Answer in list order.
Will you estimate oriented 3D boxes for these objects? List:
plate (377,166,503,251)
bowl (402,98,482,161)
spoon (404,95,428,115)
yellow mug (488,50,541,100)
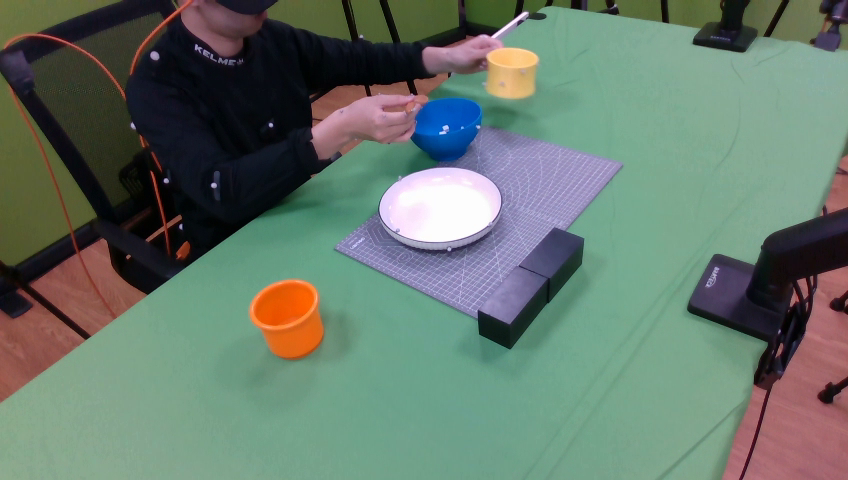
[{"bbox_3d":[0.027,-0.050,1.007,0.209,0.038,0.208,-4,41,4],"label":"plate"},{"bbox_3d":[0.040,-0.203,1.154,0.151,0.077,0.150,-7,38,6],"label":"bowl"},{"bbox_3d":[-0.020,-0.233,1.040,0.041,0.022,0.193,-9,15,8],"label":"spoon"},{"bbox_3d":[0.173,-0.340,1.218,0.100,0.064,0.129,-16,41,-19],"label":"yellow mug"}]
